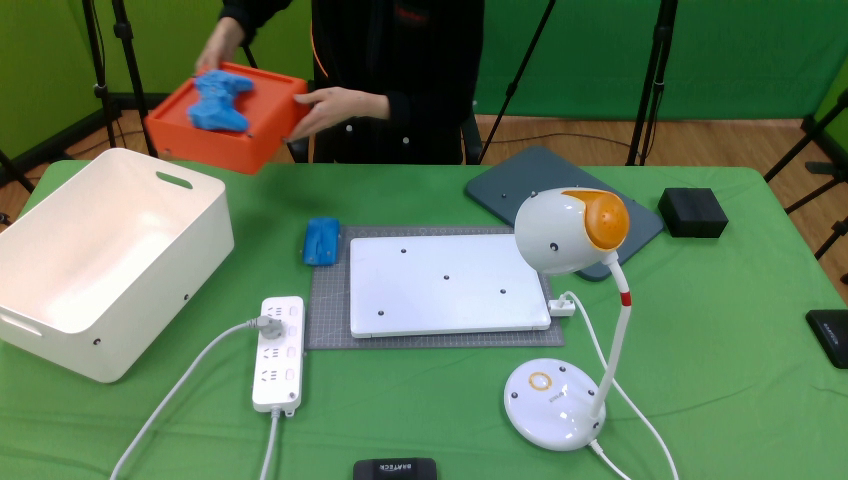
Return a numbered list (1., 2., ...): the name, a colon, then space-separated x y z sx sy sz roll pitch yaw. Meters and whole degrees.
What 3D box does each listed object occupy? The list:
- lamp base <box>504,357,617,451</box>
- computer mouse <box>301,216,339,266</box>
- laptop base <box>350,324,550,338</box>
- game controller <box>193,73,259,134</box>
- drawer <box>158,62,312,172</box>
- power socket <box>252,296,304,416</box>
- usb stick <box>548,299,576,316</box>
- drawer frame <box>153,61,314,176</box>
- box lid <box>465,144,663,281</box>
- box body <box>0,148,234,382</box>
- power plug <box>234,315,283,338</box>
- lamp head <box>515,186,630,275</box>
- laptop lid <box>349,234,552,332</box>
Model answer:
1. lamp base: 0.220 0.211 0.903 0.160 0.181 0.178 -32 59 -30
2. computer mouse: -0.200 -0.002 1.169 0.063 0.041 0.116 3 50 -3
3. laptop base: 0.039 0.081 1.124 0.355 0.023 0.234 -2 43 -6
4. game controller: -0.345 -0.243 1.058 0.097 0.052 0.154 -6 46 -2
5. drawer: -0.340 -0.230 1.119 0.194 0.073 0.211 16 49 10
6. power socket: -0.238 0.182 0.997 0.072 0.033 0.225 -3 47 -5
7. usb stick: 0.239 0.121 1.083 0.059 0.027 0.021 -1 50 -2
8. drawer frame: -0.341 -0.229 1.116 0.201 0.083 0.212 15 48 11
9. box lid: 0.297 -0.072 1.298 0.263 0.015 0.369 -33 56 -31
10. box body: -0.525 0.033 1.027 0.254 0.161 0.362 18 47 13
11. power plug: -0.270 0.143 1.000 0.072 0.053 0.035 5 47 2
12. lamp head: 0.188 -0.013 0.728 0.112 0.112 0.122 -25 9 -25
13. laptop lid: 0.040 0.071 1.117 0.357 0.013 0.240 0 44 -5
